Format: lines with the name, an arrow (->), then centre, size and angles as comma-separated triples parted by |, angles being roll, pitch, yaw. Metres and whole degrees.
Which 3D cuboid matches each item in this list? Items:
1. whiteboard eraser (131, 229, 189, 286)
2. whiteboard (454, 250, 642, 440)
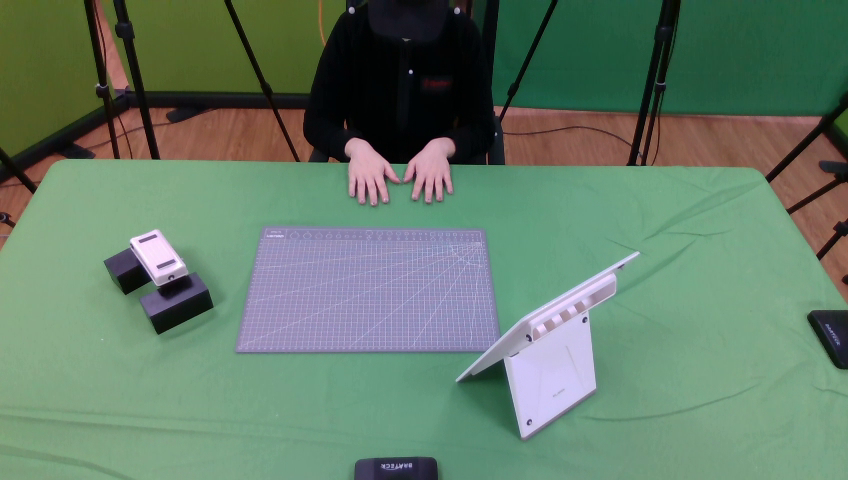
whiteboard eraser -> -0.458, 0.032, 1.050 | 0.055, 0.042, 0.112 | -29, 57, -30
whiteboard -> 0.206, 0.175, 0.889 | 0.217, 0.306, 0.143 | -24, 72, -25
